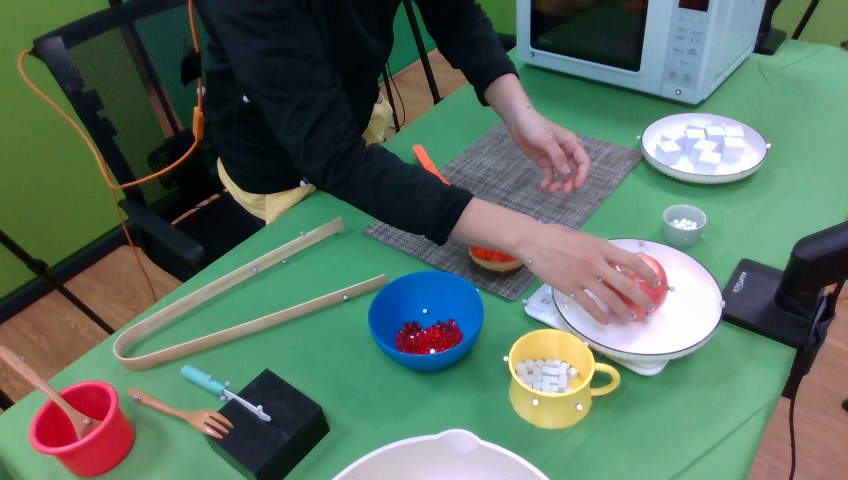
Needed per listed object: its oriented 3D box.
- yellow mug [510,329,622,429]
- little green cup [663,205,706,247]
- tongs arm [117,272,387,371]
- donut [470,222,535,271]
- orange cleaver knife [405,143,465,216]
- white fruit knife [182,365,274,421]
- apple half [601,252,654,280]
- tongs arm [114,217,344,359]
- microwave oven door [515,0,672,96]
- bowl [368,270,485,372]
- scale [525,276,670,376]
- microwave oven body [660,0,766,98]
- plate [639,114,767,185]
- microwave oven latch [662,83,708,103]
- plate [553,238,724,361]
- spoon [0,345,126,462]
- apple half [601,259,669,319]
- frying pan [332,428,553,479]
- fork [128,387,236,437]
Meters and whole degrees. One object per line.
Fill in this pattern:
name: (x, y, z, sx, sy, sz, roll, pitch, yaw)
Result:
yellow mug: (0.169, 0.164, 0.721, 0.130, 0.064, 0.099, 0, 40, 8)
little green cup: (0.396, -0.020, 0.926, 0.061, 0.039, 0.061, -4, 40, 4)
tongs arm: (-0.237, 0.115, 0.870, 0.389, 0.028, 0.028, -18, 49, -12)
donut: (0.119, 0.009, 0.924, 0.099, 0.048, 0.098, -4, 38, 4)
orange cleaver knife: (0.005, -0.113, 1.103, 0.077, 0.012, 0.209, -24, 45, -9)
white fruit knife: (-0.245, 0.188, 0.747, 0.205, 0.027, 0.016, 9, 40, 40)
apple half: (0.262, 0.042, 0.785, 0.081, 0.081, 0.032, -8, 46, 0)
tongs arm: (-0.280, 0.068, 0.927, 0.386, 0.026, 0.050, -29, 49, -23)
microwave oven door: (0.343, -0.454, 1.259, 0.353, 0.245, 0.039, 26, 51, 33)
bowl: (0.007, 0.119, 0.791, 0.151, 0.077, 0.150, -5, 39, 4)
scale: (0.254, 0.092, 0.821, 0.199, 0.032, 0.149, 28, 51, 35)
microwave oven body: (0.472, -0.513, 1.317, 0.438, 0.261, 0.327, 26, 51, 34)
plate: (0.489, -0.157, 1.074, 0.207, 0.039, 0.206, -4, 40, 4)
microwave oven latch: (0.518, -0.296, 1.204, 0.078, 0.029, 0.030, 28, 52, 35)
plate: (0.273, 0.078, 0.783, 0.209, 0.038, 0.208, -4, 41, 4)
spoon: (-0.434, 0.191, 0.720, 0.194, 0.021, 0.042, 47, 52, -6)
apple half: (0.267, 0.068, 0.756, 0.081, 0.075, 0.053, -7, 43, -3)
frying pan: (-0.089, 0.306, 0.564, 0.487, 0.103, 0.306, 10, 41, 7)
fork: (-0.305, 0.207, 0.744, 0.206, 0.019, 0.028, 3, 40, 36)
